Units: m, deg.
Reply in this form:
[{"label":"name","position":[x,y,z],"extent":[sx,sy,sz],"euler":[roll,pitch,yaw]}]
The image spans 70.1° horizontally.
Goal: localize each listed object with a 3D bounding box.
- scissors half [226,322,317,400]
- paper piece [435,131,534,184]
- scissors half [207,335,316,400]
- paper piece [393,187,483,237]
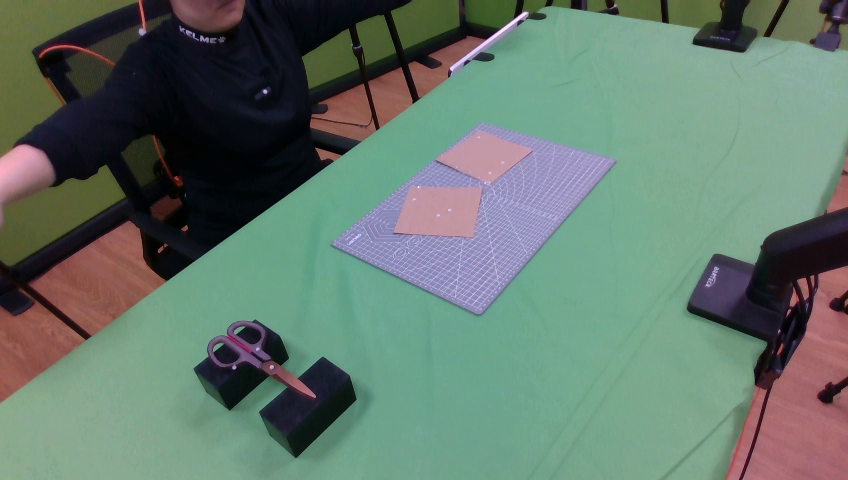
[{"label":"scissors half","position":[-0.189,0.149,0.754],"extent":[0.040,0.013,0.173],"euler":[-34,49,-31]},{"label":"paper piece","position":[0.114,-0.161,1.150],"extent":[0.135,0.009,0.138],"euler":[31,53,32]},{"label":"scissors half","position":[-0.201,0.159,0.741],"extent":[0.174,0.013,0.040],"euler":[18,40,23]},{"label":"paper piece","position":[0.027,-0.051,1.033],"extent":[0.135,0.004,0.135],"euler":[3,42,12]}]
